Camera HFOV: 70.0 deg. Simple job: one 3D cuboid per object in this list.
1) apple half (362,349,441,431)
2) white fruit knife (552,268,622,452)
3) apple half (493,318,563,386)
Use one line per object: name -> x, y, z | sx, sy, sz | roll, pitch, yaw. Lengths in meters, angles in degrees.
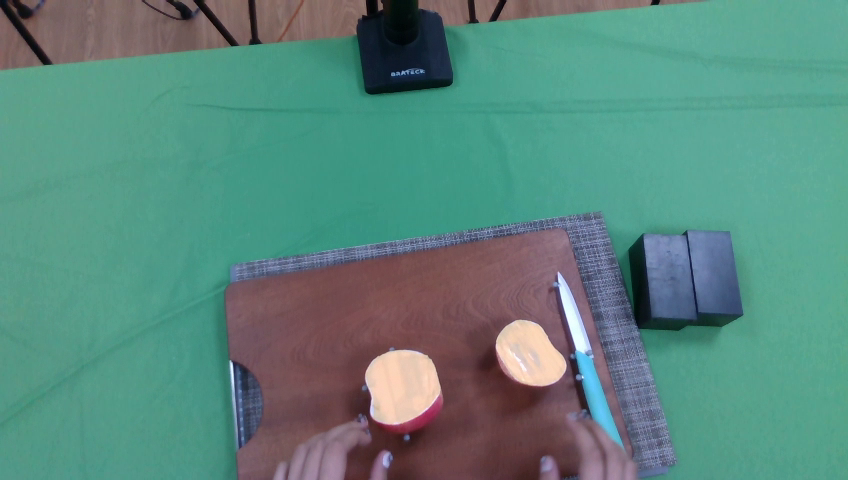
apple half -> -0.021, 0.156, 0.614 | 0.075, 0.054, 0.080 | -20, 51, -2
white fruit knife -> 0.171, 0.125, 0.656 | 0.027, 0.016, 0.205 | 1, 63, -32
apple half -> 0.102, 0.124, 0.640 | 0.081, 0.033, 0.080 | 13, 48, -15
